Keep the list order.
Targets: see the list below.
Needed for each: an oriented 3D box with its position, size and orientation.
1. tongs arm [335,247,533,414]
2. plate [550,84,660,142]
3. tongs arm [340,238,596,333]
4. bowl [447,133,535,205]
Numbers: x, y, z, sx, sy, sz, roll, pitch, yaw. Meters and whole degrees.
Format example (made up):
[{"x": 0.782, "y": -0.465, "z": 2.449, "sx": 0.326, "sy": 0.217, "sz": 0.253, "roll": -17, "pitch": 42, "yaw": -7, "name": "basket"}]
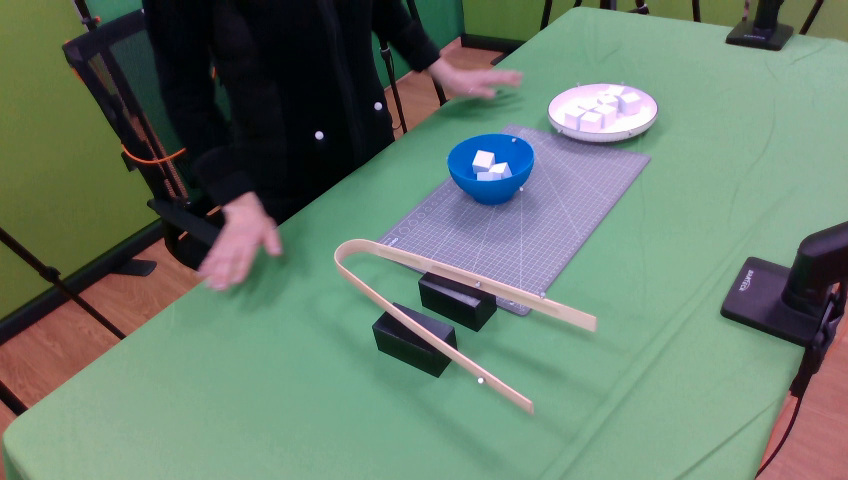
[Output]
[{"x": -0.007, "y": 0.105, "z": 0.783, "sx": 0.028, "sy": 0.028, "sz": 0.384, "roll": -38, "pitch": 48, "yaw": -23, "name": "tongs arm"}, {"x": 0.355, "y": -0.247, "z": 1.195, "sx": 0.207, "sy": 0.039, "sz": 0.206, "roll": -5, "pitch": 39, "yaw": 5, "name": "plate"}, {"x": 0.043, "y": 0.061, "z": 0.826, "sx": 0.382, "sy": 0.026, "sz": 0.051, "roll": 20, "pitch": 50, "yaw": 30, "name": "tongs arm"}, {"x": 0.119, "y": -0.115, "z": 1.051, "sx": 0.151, "sy": 0.077, "sz": 0.150, "roll": -5, "pitch": 40, "yaw": 5, "name": "bowl"}]
